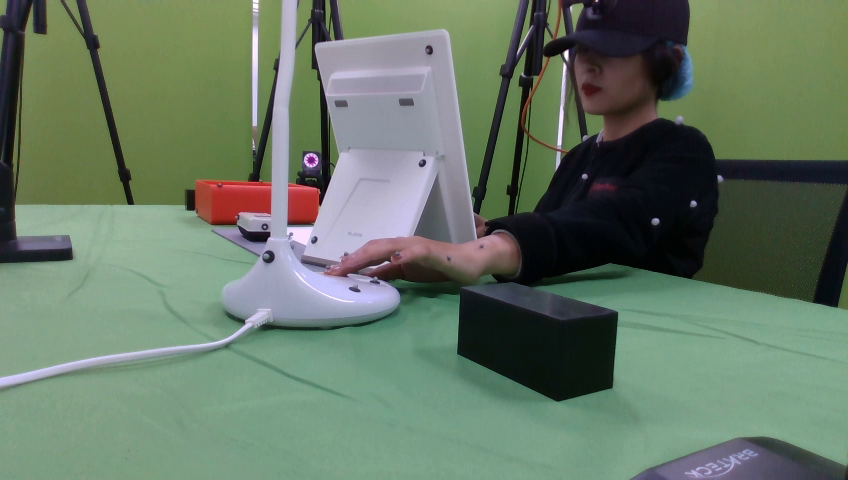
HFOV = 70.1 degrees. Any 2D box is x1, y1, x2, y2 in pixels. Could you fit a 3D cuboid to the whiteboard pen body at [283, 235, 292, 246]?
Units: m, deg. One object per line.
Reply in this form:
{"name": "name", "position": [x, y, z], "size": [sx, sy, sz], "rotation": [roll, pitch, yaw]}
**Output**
{"name": "whiteboard pen body", "position": [-0.206, 0.005, 0.872], "size": [0.017, 0.017, 0.140], "rotation": [2, 4, -6]}

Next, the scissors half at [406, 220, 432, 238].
{"name": "scissors half", "position": [-0.006, -0.022, 1.215], "size": [0.040, 0.013, 0.174], "rotation": [6, 10, -15]}

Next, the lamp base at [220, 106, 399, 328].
{"name": "lamp base", "position": [-0.102, -0.023, 0.531], "size": [0.160, 0.180, 0.179], "rotation": [4, 10, 10]}

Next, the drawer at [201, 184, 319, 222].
{"name": "drawer", "position": [-0.353, -0.082, 1.295], "size": [0.213, 0.073, 0.193], "rotation": [-2, 10, -28]}

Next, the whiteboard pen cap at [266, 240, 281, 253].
{"name": "whiteboard pen cap", "position": [-0.202, 0.009, 0.812], "size": [0.018, 0.018, 0.033], "rotation": [1, 3, -8]}

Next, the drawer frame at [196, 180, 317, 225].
{"name": "drawer frame", "position": [-0.359, -0.083, 1.292], "size": [0.215, 0.082, 0.200], "rotation": [-2, 10, -30]}

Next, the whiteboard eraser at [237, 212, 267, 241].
{"name": "whiteboard eraser", "position": [-0.273, -0.024, 0.998], "size": [0.056, 0.042, 0.112], "rotation": [-3, 9, -26]}

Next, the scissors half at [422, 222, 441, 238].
{"name": "scissors half", "position": [0.013, -0.018, 1.217], "size": [0.040, 0.013, 0.175], "rotation": [14, 9, 1]}

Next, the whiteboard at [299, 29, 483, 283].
{"name": "whiteboard", "position": [-0.074, -0.082, 0.742], "size": [0.216, 0.305, 0.144], "rotation": [9, 29, 38]}
